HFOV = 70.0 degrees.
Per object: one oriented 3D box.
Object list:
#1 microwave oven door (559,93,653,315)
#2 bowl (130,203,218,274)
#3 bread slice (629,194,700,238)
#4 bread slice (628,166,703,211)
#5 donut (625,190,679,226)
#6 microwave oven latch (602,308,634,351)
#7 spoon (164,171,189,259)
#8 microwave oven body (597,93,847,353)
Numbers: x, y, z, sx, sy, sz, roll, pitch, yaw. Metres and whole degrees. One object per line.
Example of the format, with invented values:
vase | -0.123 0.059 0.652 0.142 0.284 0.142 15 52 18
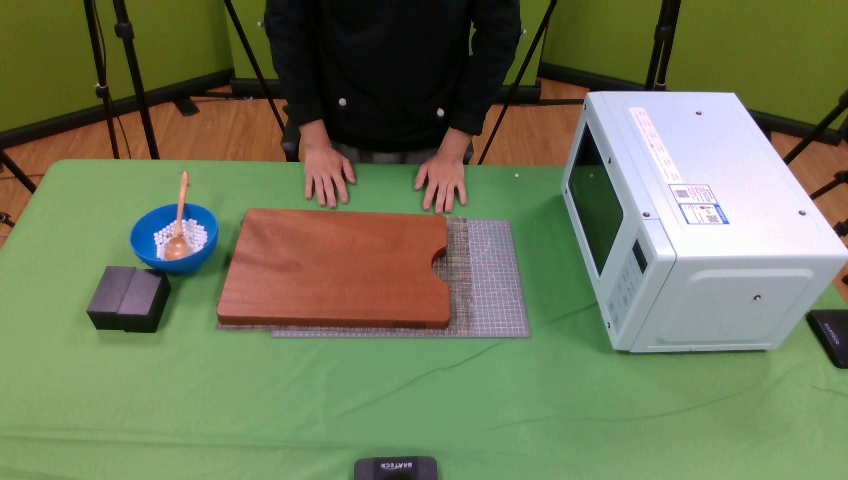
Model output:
microwave oven door | 0.327 -0.074 1.123 0.039 0.245 0.353 -1 46 -5
bowl | -0.450 0.009 1.117 0.151 0.077 0.150 3 45 -2
bread slice | 0.474 -0.048 1.193 0.131 0.019 0.104 10 43 11
bread slice | 0.457 -0.095 1.140 0.134 0.018 0.106 6 43 -17
donut | 0.441 -0.062 1.172 0.099 0.048 0.098 -6 30 4
microwave oven latch | 0.332 0.153 1.044 0.030 0.029 0.078 -1 45 -4
spoon | -0.452 -0.046 1.129 0.041 0.022 0.193 -1 69 -3
microwave oven body | 0.475 -0.041 1.110 0.326 0.261 0.438 -1 45 -4
